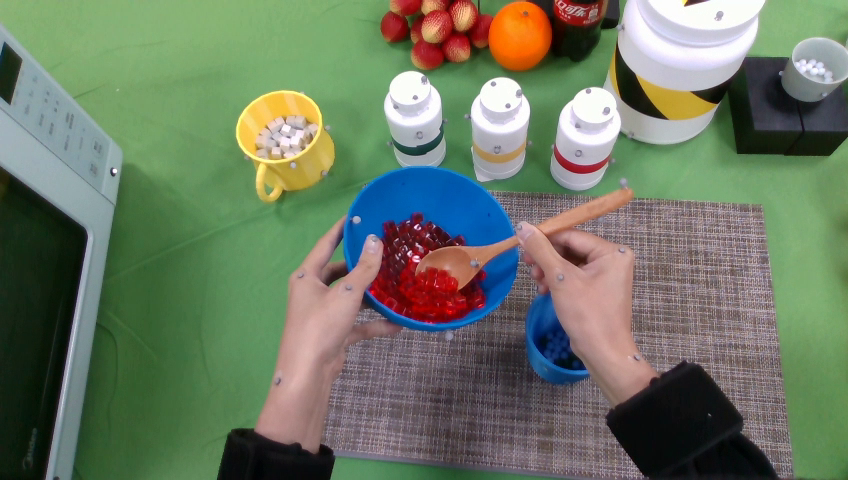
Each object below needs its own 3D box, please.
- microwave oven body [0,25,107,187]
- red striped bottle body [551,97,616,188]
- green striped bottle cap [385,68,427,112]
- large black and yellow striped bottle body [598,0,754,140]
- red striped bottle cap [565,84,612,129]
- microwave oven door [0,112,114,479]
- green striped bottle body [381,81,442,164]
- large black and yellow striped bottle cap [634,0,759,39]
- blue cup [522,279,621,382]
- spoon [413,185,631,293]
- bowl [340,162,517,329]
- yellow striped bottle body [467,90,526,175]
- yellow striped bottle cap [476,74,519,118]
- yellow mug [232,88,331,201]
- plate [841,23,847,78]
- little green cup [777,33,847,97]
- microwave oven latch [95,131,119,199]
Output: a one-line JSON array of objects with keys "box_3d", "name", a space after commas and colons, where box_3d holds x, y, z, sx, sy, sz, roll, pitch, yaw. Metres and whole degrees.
[{"box_3d": [-0.527, 0.049, 0.565, 0.326, 0.262, 0.438, -6, 67, 2], "name": "microwave oven body"}, {"box_3d": [0.171, -0.112, 0.654, 0.063, 0.121, 0.062, -3, 64, 7], "name": "red striped bottle body"}, {"box_3d": [-0.019, -0.157, 0.633, 0.044, 0.020, 0.044, -1, 66, 3], "name": "green striped bottle cap"}, {"box_3d": [0.268, -0.208, 0.653, 0.131, 0.185, 0.130, -2, 66, 5], "name": "large black and yellow striped bottle body"}, {"box_3d": [0.165, -0.134, 0.607, 0.044, 0.018, 0.044, 0, 65, 1], "name": "red striped bottle cap"}, {"box_3d": [-0.380, 0.072, 0.537, 0.039, 0.246, 0.353, -6, 66, 3], "name": "microwave oven door"}, {"box_3d": [-0.013, -0.136, 0.681, 0.063, 0.120, 0.062, -2, 66, 4], "name": "green striped bottle body"}, {"box_3d": [0.259, -0.241, 0.575, 0.115, 0.019, 0.114, -2, 65, 5], "name": "large black and yellow striped bottle cap"}, {"box_3d": [0.133, 0.094, 0.575, 0.092, 0.101, 0.092, -2, 66, 5], "name": "blue cup"}, {"box_3d": [0.074, -0.001, 0.491, 0.193, 0.022, 0.041, -24, 75, 28], "name": "spoon"}, {"box_3d": [-0.002, 0.015, 0.530, 0.152, 0.077, 0.150, 7, 63, -12], "name": "bowl"}, {"box_3d": [0.080, -0.127, 0.668, 0.063, 0.121, 0.062, -2, 66, 6], "name": "yellow striped bottle body"}, {"box_3d": [0.075, -0.148, 0.622, 0.044, 0.019, 0.044, -1, 68, 4], "name": "yellow striped bottle cap"}, {"box_3d": [-0.171, -0.106, 0.711, 0.100, 0.064, 0.130, 13, 69, 10], "name": "yellow mug"}, {"box_3d": [0.590, -0.205, 0.702, 0.209, 0.038, 0.207, -2, 67, 4], "name": "plate"}, {"box_3d": [0.417, -0.187, 0.654, 0.061, 0.039, 0.061, -1, 65, 3], "name": "little green cup"}, {"box_3d": [-0.383, -0.087, 0.717, 0.030, 0.030, 0.078, -4, 67, 3], "name": "microwave oven latch"}]
